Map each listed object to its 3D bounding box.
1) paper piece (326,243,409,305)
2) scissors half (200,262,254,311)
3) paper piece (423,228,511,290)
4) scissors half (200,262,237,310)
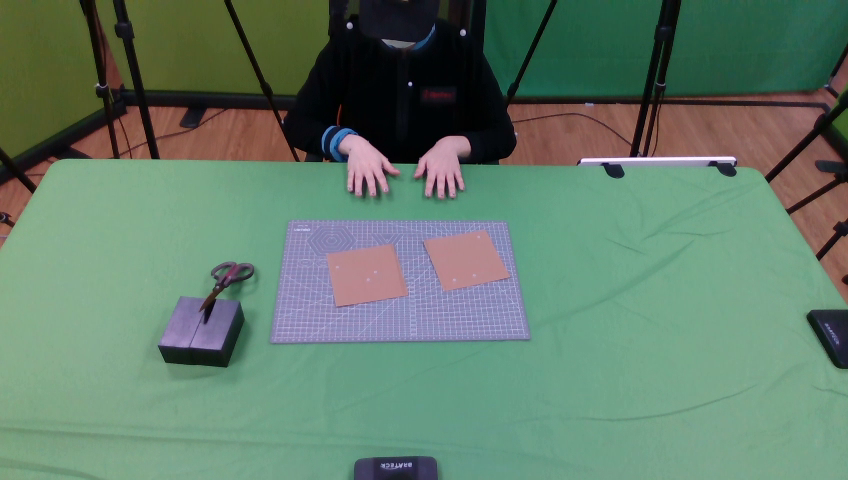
[{"bbox_3d":[-0.108,0.061,1.135,0.136,0.004,0.134,-8,46,-12],"label":"paper piece"},{"bbox_3d":[-0.343,0.079,1.058,0.040,0.013,0.174,3,24,13],"label":"scissors half"},{"bbox_3d":[0.082,0.034,1.177,0.138,0.009,0.135,-8,52,-15],"label":"paper piece"},{"bbox_3d":[-0.363,0.079,1.058,0.040,0.013,0.174,1,23,-5],"label":"scissors half"}]
